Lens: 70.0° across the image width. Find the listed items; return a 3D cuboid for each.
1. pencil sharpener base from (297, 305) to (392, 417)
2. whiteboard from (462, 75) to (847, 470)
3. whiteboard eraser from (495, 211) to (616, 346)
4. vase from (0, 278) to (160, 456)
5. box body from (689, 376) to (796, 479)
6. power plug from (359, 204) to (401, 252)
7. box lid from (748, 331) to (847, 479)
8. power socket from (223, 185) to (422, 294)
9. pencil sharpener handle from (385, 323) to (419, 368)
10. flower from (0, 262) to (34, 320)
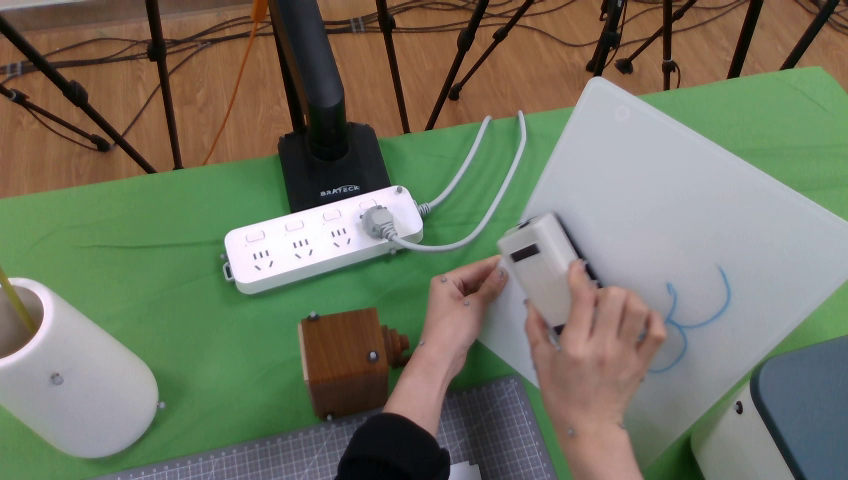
[{"bbox_3d":[-0.069,0.112,0.554,0.077,0.108,0.061,-9,58,-10],"label":"pencil sharpener base"},{"bbox_3d":[0.202,0.021,0.550,0.216,0.307,0.144,38,44,19],"label":"whiteboard"},{"bbox_3d":[0.112,0.032,0.511,0.042,0.055,0.113,-35,96,-46],"label":"whiteboard eraser"},{"bbox_3d":[-0.289,0.106,0.487,0.098,0.201,0.097,1,58,-2],"label":"vase"},{"bbox_3d":[0.410,0.259,0.466,0.255,0.161,0.360,-12,60,-11],"label":"box body"},{"bbox_3d":[-0.048,-0.006,0.645,0.035,0.053,0.072,-8,60,-8],"label":"power plug"},{"bbox_3d":[0.414,0.217,0.404,0.264,0.015,0.367,-12,59,-12],"label":"box lid"},{"bbox_3d":[-0.108,-0.003,0.666,0.227,0.033,0.071,-16,61,-14],"label":"power socket"},{"bbox_3d":[-0.019,0.098,0.553,0.031,0.068,0.035,-9,58,-10],"label":"pencil sharpener handle"},{"bbox_3d":[-0.283,0.046,0.427,0.038,0.365,0.043,-22,44,-25],"label":"flower"}]
